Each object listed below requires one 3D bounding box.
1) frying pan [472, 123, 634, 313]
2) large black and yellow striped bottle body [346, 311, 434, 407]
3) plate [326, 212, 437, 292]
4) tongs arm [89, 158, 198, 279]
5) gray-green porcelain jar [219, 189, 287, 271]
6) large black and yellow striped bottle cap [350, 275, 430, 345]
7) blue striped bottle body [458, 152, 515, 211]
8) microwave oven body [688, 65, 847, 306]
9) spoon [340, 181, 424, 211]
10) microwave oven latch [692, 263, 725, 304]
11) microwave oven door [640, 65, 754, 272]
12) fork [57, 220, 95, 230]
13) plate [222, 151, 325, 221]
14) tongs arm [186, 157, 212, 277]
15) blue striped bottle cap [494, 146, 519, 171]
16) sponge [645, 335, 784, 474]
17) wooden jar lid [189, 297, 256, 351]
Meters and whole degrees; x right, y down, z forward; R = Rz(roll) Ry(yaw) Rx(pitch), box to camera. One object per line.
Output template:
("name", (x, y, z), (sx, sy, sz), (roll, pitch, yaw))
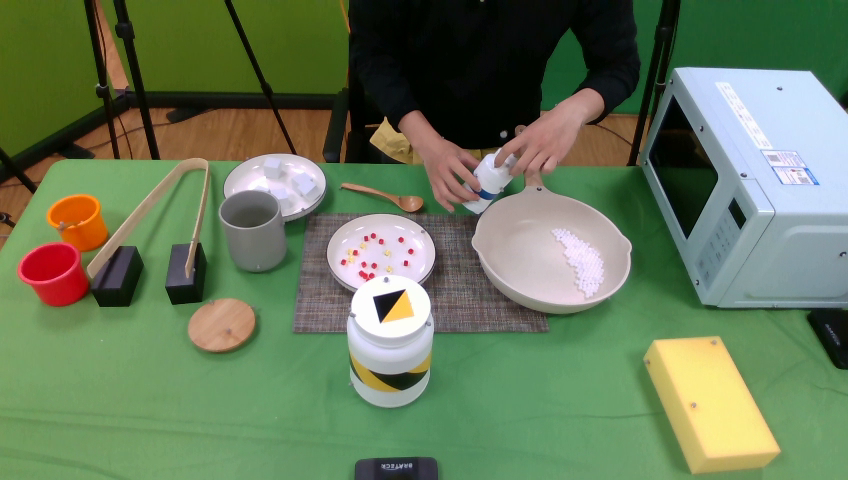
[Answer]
("frying pan", (0.235, -0.061, 1.207), (0.307, 0.103, 0.484), (1, 55, -6))
("large black and yellow striped bottle body", (-0.052, 0.157, 0.929), (0.131, 0.185, 0.130), (2, 47, -2))
("plate", (-0.080, 0.030, 1.143), (0.209, 0.038, 0.208), (2, 46, -2))
("tongs arm", (-0.529, -0.057, 1.164), (0.028, 0.028, 0.385), (1, 36, 8))
("gray-green porcelain jar", (-0.310, -0.014, 1.113), (0.106, 0.127, 0.105), (2, 46, -2))
("large black and yellow striped bottle cap", (-0.048, 0.097, 0.868), (0.115, 0.019, 0.114), (3, 48, -3))
("blue striped bottle body", (0.118, -0.112, 1.087), (0.063, 0.121, 0.062), (22, 43, -21))
("microwave oven body", (0.669, -0.111, 1.176), (0.326, 0.261, 0.439), (0, 46, -3))
("spoon", (-0.090, -0.100, 1.282), (0.193, 0.022, 0.041), (18, 64, 13))
("microwave oven latch", (0.522, 0.081, 1.116), (0.030, 0.029, 0.078), (1, 46, -2))
("microwave oven door", (0.523, -0.147, 1.193), (0.039, 0.245, 0.353), (0, 47, -3))
("fork", (-0.624, -0.027, 1.086), (0.028, 0.207, 0.018), (-3, 92, -17))
("plate", (-0.310, -0.106, 1.263), (0.208, 0.039, 0.206), (2, 47, -2))
("tongs arm", (-0.445, -0.058, 1.168), (0.051, 0.026, 0.382), (-5, 37, -6))
("blue striped bottle cap", (0.144, -0.142, 1.054), (0.045, 0.020, 0.044), (21, 40, -18))
("sponge", (0.449, 0.253, 0.956), (0.118, 0.061, 0.205), (-4, 46, -7))
("wooden jar lid", (-0.342, 0.145, 1.033), (0.108, 0.021, 0.107), (2, 45, -2))
